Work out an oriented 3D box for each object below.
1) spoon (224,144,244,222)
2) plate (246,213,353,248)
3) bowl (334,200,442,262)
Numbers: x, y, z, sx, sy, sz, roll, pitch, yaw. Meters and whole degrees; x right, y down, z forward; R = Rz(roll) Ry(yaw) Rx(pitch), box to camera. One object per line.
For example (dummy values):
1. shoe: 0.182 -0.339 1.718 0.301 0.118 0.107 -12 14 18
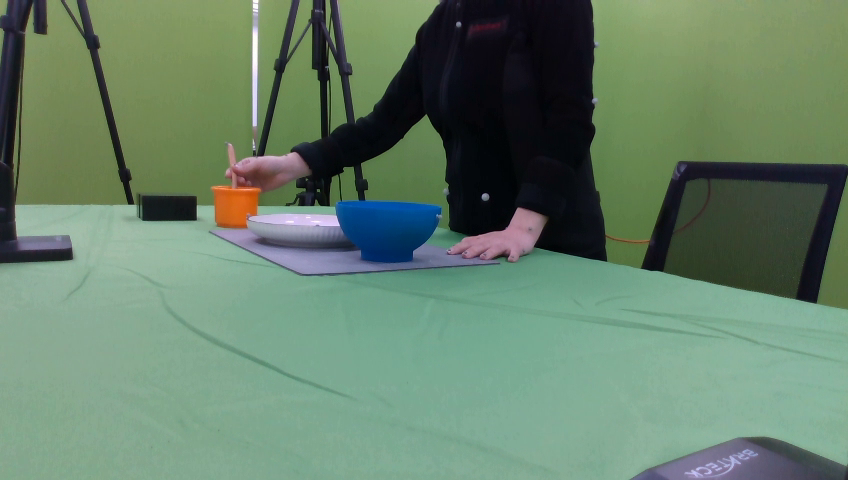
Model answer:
1. spoon: -0.379 -0.116 1.202 0.042 0.193 0.021 15 -37 -40
2. plate: -0.185 -0.017 0.994 0.209 0.038 0.209 3 8 0
3. bowl: -0.051 -0.012 0.847 0.151 0.077 0.151 3 7 0
